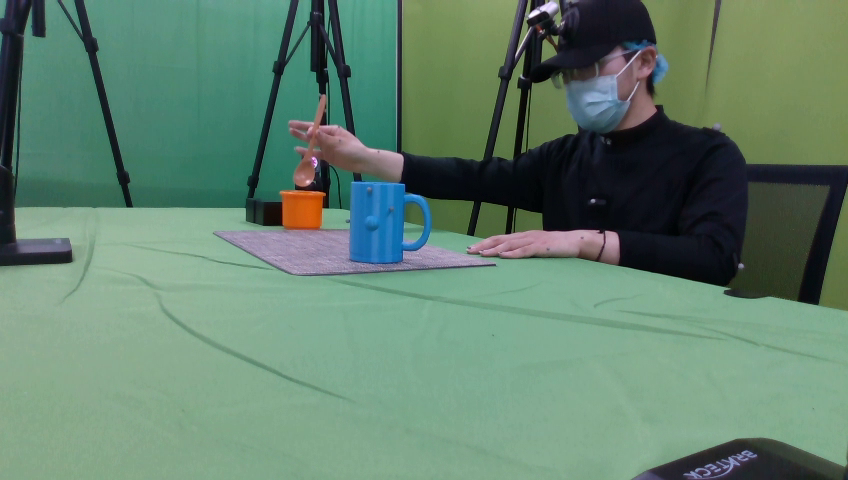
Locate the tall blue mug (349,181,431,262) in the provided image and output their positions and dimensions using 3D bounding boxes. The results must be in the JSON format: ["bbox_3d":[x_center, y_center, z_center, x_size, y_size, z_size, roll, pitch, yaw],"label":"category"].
[{"bbox_3d":[-0.051,-0.028,0.849,0.108,0.108,0.077,-1,7,-22],"label":"tall blue mug"}]

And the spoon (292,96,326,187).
[{"bbox_3d":[-0.225,-0.199,1.217,0.041,0.193,0.021,14,-2,3],"label":"spoon"}]
